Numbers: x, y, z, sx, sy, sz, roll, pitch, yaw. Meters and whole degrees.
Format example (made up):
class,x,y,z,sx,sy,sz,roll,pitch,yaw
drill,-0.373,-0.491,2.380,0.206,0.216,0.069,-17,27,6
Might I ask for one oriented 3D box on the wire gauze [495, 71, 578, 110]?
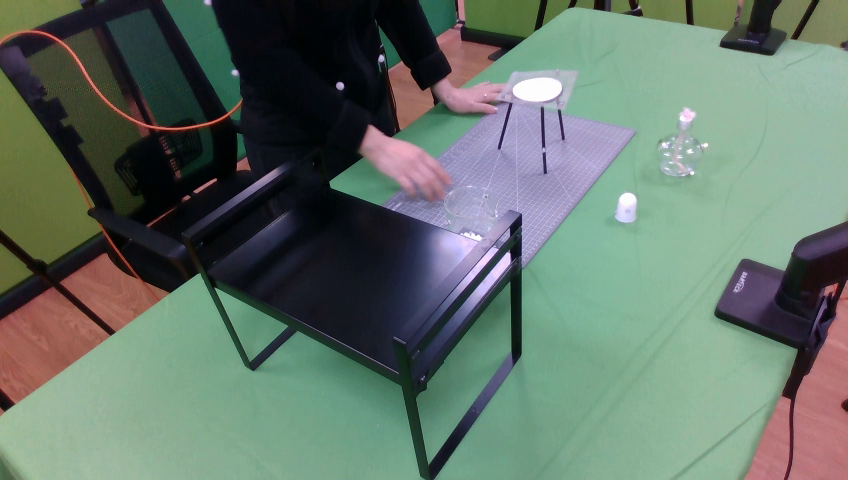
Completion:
class,x,y,z,sx,sy,sz,roll,pitch,yaw
wire gauze,0.199,-0.268,1.065,0.124,0.011,0.121,10,44,22

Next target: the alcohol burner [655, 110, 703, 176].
class,x,y,z,sx,sy,sz,roll,pitch,yaw
alcohol burner,0.441,-0.170,1.037,0.078,0.119,0.077,-2,40,3

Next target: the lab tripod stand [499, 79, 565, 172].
class,x,y,z,sx,sy,sz,roll,pitch,yaw
lab tripod stand,0.204,-0.216,1.107,0.148,0.132,0.147,-6,41,5

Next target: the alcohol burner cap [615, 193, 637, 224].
class,x,y,z,sx,sy,sz,roll,pitch,yaw
alcohol burner cap,0.327,-0.053,0.974,0.034,0.048,0.033,-4,38,3

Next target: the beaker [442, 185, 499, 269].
class,x,y,z,sx,sy,sz,roll,pitch,yaw
beaker,0.071,-0.015,0.844,0.074,0.101,0.083,-35,48,-28
